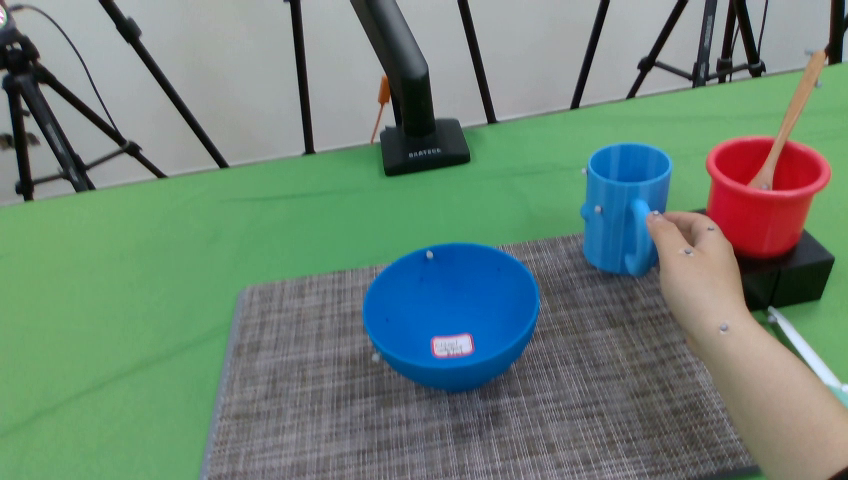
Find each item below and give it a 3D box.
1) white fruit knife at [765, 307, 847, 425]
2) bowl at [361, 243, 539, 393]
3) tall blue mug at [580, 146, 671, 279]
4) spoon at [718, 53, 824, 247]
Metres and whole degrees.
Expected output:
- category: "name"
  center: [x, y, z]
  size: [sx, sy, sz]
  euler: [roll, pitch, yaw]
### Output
- category: "white fruit knife"
  center: [0.327, 0.122, 0.475]
  size: [0.027, 0.016, 0.205]
  euler: [13, 32, -16]
- category: "bowl"
  center: [0.026, 0.080, 0.531]
  size: [0.151, 0.077, 0.150]
  euler: [-6, 38, 5]
- category: "tall blue mug"
  center: [0.208, -0.021, 0.598]
  size: [0.078, 0.109, 0.106]
  euler: [-22, 39, -17]
- category: "spoon"
  center: [0.321, -0.082, 0.548]
  size: [0.041, 0.022, 0.193]
  euler: [25, 93, 39]
